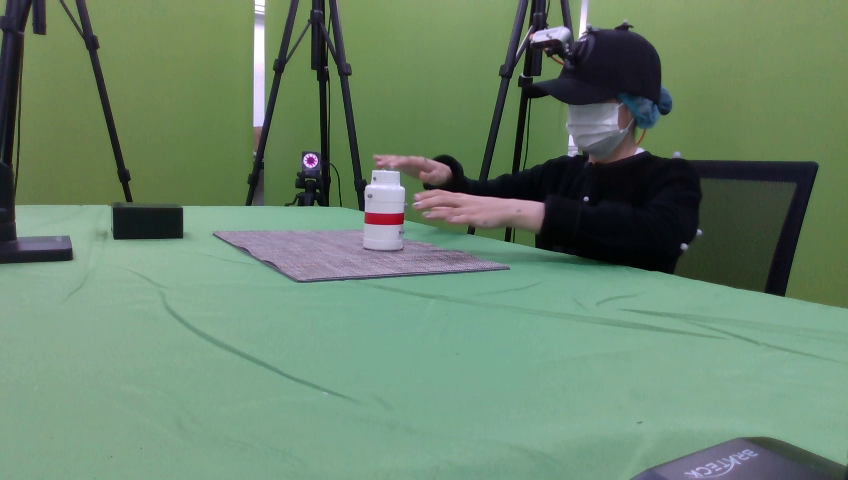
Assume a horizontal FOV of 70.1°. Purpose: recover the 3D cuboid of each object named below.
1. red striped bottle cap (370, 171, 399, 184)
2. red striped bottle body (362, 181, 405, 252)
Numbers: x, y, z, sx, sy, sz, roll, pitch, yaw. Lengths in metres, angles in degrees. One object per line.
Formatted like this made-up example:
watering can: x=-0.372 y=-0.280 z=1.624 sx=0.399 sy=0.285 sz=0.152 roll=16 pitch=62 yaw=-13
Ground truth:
red striped bottle cap: x=-0.060 y=-0.096 z=0.925 sx=0.044 sy=0.017 sz=0.044 roll=5 pitch=6 yaw=0
red striped bottle body: x=-0.062 y=-0.044 z=0.932 sx=0.063 sy=0.119 sz=0.063 roll=4 pitch=7 yaw=0
